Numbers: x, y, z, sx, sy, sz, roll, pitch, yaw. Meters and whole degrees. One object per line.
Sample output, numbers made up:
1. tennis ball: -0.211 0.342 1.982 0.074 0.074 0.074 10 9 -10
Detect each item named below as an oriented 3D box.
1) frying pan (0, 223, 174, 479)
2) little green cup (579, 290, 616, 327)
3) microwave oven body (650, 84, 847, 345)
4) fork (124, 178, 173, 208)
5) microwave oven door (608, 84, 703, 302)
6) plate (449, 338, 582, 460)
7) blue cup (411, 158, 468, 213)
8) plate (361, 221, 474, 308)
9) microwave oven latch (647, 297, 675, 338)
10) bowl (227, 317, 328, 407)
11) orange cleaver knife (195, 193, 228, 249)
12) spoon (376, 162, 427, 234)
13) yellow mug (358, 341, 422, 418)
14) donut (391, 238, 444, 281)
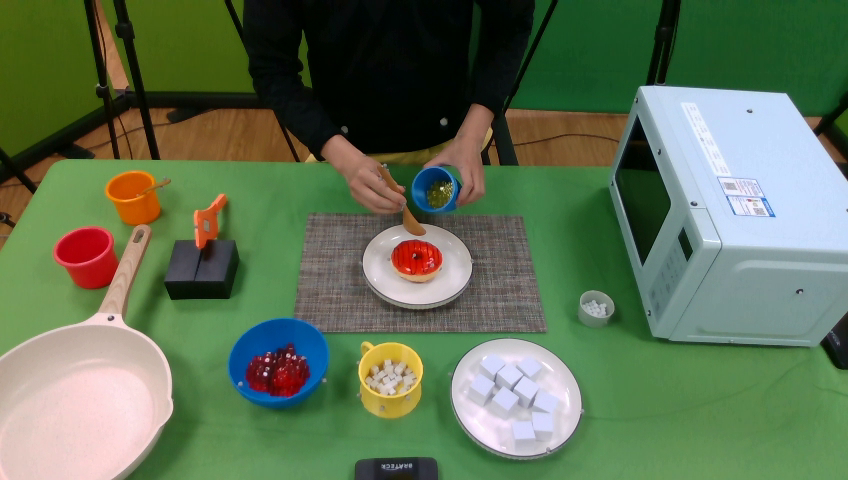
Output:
1. frying pan: -0.505 0.169 0.941 0.307 0.103 0.485 5 54 -1
2. little green cup: 0.308 0.124 1.086 0.061 0.039 0.061 1 45 -1
3. microwave oven body: 0.569 -0.054 1.116 0.326 0.261 0.439 2 46 -1
4. fork: -0.525 -0.089 1.153 0.207 0.019 0.028 -17 27 45
5. microwave oven door: 0.424 -0.096 1.138 0.039 0.245 0.353 2 47 -1
6. plate: 0.141 0.251 0.955 0.208 0.039 0.206 2 46 -2
7. blue cup: 0.037 -0.092 1.145 0.092 0.100 0.092 -6 76 26
8. plate: -0.011 0.049 1.130 0.209 0.038 0.208 2 46 -2
9. microwave oven latch: 0.413 0.133 1.060 0.030 0.029 0.078 5 46 2
10. bowl: -0.223 0.203 0.947 0.151 0.077 0.150 2 46 -2
11. orange cleaver knife: -0.406 -0.041 1.163 0.012 0.077 0.210 0 18 -3
12. spoon: -0.040 -0.067 1.017 0.041 0.195 0.021 7 56 29
13. yellow mug: -0.063 0.210 0.961 0.100 0.064 0.130 -29 54 -28
14. donut: -0.012 0.035 1.128 0.099 0.048 0.098 3 43 -3
